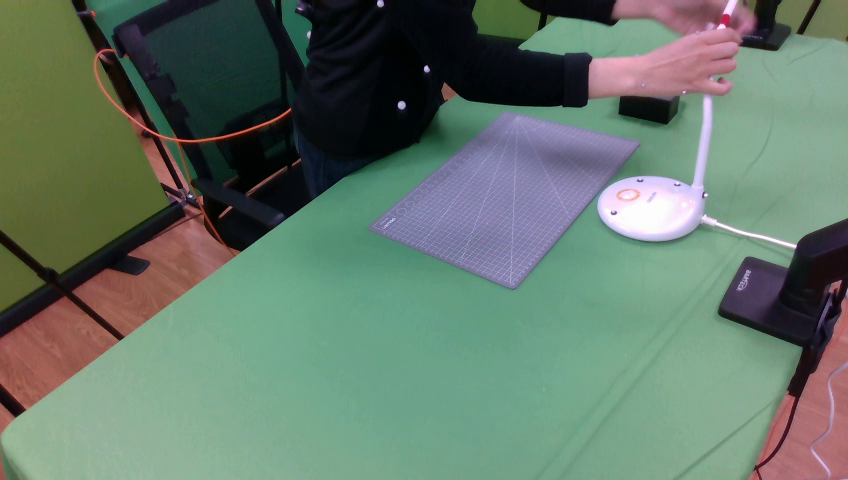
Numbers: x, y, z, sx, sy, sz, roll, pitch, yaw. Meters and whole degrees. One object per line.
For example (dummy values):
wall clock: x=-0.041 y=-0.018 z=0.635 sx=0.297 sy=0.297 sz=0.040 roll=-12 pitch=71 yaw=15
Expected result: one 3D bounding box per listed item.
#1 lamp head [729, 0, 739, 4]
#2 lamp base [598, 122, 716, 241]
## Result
lamp head: x=0.438 y=-0.389 z=0.828 sx=0.112 sy=0.124 sz=0.112 roll=-18 pitch=48 yaw=22
lamp base: x=0.365 y=-0.110 z=0.920 sx=0.178 sy=0.181 sz=0.160 roll=14 pitch=46 yaw=22
